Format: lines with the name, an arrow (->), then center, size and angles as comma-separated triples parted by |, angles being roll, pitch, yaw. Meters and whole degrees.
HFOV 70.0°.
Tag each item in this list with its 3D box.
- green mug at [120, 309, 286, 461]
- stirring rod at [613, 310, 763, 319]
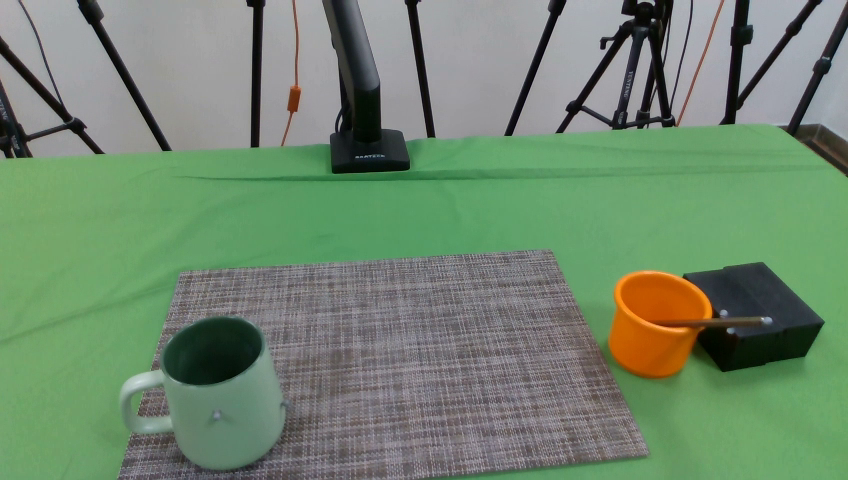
green mug -> -0.183, 0.125, 0.503 | 0.125, 0.106, 0.091 | -10, 39, -15
stirring rod -> 0.241, 0.071, 0.573 | 0.014, 0.006, 0.175 | -12, -3, -23
